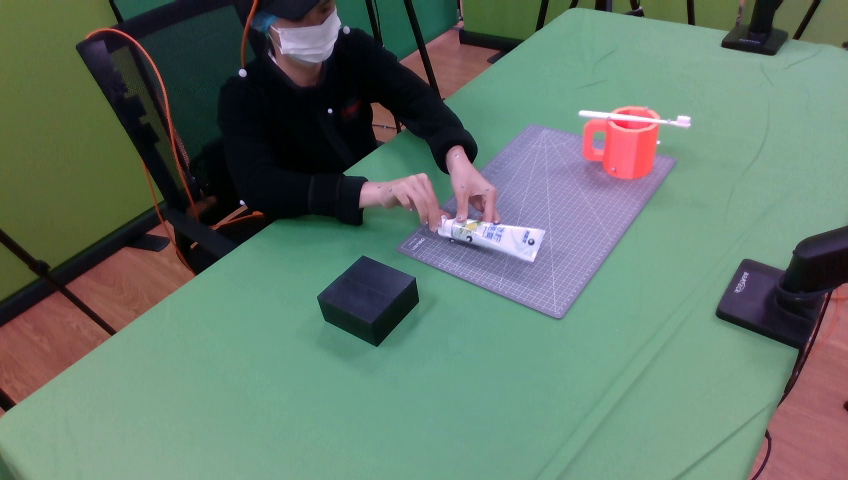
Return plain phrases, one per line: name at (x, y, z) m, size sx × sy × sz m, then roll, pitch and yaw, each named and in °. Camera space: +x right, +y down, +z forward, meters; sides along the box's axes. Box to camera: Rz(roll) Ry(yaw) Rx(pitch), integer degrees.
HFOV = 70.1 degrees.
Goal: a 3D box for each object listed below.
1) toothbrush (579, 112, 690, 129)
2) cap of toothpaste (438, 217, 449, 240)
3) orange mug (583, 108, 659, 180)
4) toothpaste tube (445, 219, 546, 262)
toothbrush at (0.352, -0.205, 1.019) m, size 0.181 × 0.017 × 0.014 m, roll 10°, pitch 47°, yaw 21°
cap of toothpaste at (0.034, -0.019, 0.967) m, size 0.011 × 0.037 × 0.037 m, roll 6°, pitch 41°, yaw 31°
orange mug at (0.343, -0.171, 1.061) m, size 0.126 × 0.101 × 0.083 m, roll 10°, pitch 43°, yaw 15°
toothpaste tube at (0.101, -0.004, 0.926) m, size 0.164 × 0.035 × 0.055 m, roll 10°, pitch 70°, yaw 30°
